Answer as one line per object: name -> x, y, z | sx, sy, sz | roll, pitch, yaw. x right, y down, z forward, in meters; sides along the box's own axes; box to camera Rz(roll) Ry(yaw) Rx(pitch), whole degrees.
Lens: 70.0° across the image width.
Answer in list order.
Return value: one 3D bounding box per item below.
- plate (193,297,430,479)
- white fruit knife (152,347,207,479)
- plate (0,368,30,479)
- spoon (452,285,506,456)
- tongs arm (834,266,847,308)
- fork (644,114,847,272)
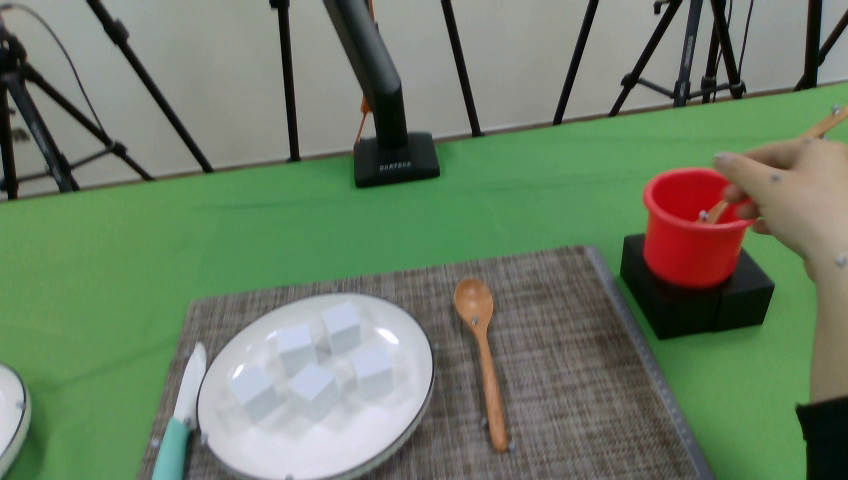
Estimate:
plate -> -0.096, 0.134, 0.543 | 0.207, 0.039, 0.205 | -4, 37, 3
white fruit knife -> -0.215, 0.169, 0.537 | 0.027, 0.016, 0.205 | 16, 30, -19
plate -> -0.450, 0.196, 0.522 | 0.209, 0.038, 0.207 | -4, 36, 3
spoon -> 0.054, 0.112, 0.561 | 0.042, 0.022, 0.191 | 8, 35, -10
tongs arm -> 0.400, 0.151, 0.457 | 0.028, 0.028, 0.384 | 0, 38, 6
fork -> 0.286, -0.039, 0.545 | 0.207, 0.019, 0.028 | -45, 26, 19
